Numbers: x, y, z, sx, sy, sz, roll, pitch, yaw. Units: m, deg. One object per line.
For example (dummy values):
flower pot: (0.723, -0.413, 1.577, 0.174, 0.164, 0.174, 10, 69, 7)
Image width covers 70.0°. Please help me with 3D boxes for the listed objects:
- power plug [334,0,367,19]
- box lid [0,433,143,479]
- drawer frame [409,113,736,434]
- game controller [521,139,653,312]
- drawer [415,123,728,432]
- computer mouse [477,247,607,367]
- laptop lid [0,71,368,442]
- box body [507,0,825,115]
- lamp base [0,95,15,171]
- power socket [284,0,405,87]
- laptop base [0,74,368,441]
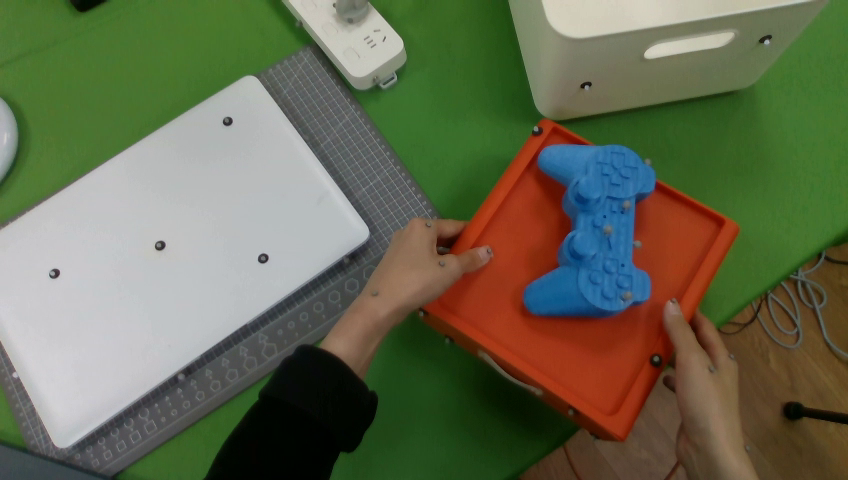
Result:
power plug: (-0.064, -0.266, 0.664, 0.072, 0.053, 0.035, -25, 71, -7)
box lid: (-0.365, 0.320, 0.527, 0.371, 0.015, 0.262, 14, 74, 7)
drawer frame: (0.128, 0.028, 0.544, 0.201, 0.083, 0.213, 32, 76, 12)
game controller: (0.138, -0.015, 0.503, 0.097, 0.052, 0.154, 9, 73, 1)
drawer: (0.129, 0.030, 0.544, 0.193, 0.074, 0.211, 32, 75, 12)
computer mouse: (0.107, 0.058, 0.551, 0.116, 0.041, 0.063, 40, 80, 16)
laptop lid: (-0.261, 0.002, 0.607, 0.357, 0.013, 0.240, -34, 76, -8)
box body: (0.206, -0.329, 0.626, 0.254, 0.161, 0.361, -10, 72, 0)
lamp base: (-0.546, -0.133, 0.593, 0.179, 0.181, 0.160, 14, 73, 11)
power socket: (-0.106, -0.266, 0.691, 0.072, 0.033, 0.225, -36, 74, -10)
laptop base: (-0.262, 0.004, 0.619, 0.354, 0.023, 0.234, -35, 77, -8)
